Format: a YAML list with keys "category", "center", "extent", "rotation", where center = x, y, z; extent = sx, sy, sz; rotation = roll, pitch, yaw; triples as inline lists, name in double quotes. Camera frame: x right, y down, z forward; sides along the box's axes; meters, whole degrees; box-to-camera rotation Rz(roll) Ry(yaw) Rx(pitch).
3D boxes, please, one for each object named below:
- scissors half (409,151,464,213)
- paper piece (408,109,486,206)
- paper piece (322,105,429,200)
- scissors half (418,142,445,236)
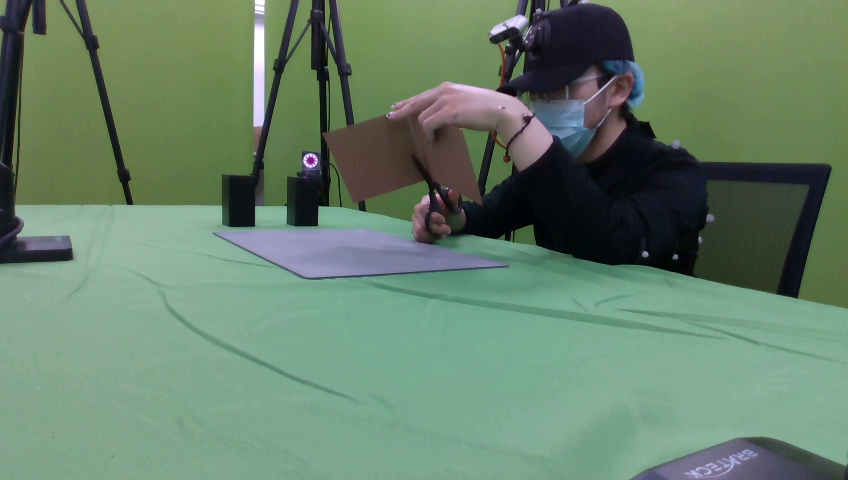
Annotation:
- category: "scissors half"
  center: [0.023, -0.099, 1.018]
  extent: [0.013, 0.040, 0.176]
  rotation: [11, -19, 40]
- category: "paper piece"
  center: [0.034, -0.126, 0.909]
  extent: [0.008, 0.136, 0.137]
  rotation: [-40, 43, -19]
- category: "paper piece"
  center: [-0.075, -0.136, 0.964]
  extent: [0.135, 0.135, 0.004]
  rotation: [-16, 33, 6]
- category: "scissors half"
  center: [0.008, -0.083, 1.008]
  extent: [0.012, 0.175, 0.040]
  rotation: [17, 37, 42]
